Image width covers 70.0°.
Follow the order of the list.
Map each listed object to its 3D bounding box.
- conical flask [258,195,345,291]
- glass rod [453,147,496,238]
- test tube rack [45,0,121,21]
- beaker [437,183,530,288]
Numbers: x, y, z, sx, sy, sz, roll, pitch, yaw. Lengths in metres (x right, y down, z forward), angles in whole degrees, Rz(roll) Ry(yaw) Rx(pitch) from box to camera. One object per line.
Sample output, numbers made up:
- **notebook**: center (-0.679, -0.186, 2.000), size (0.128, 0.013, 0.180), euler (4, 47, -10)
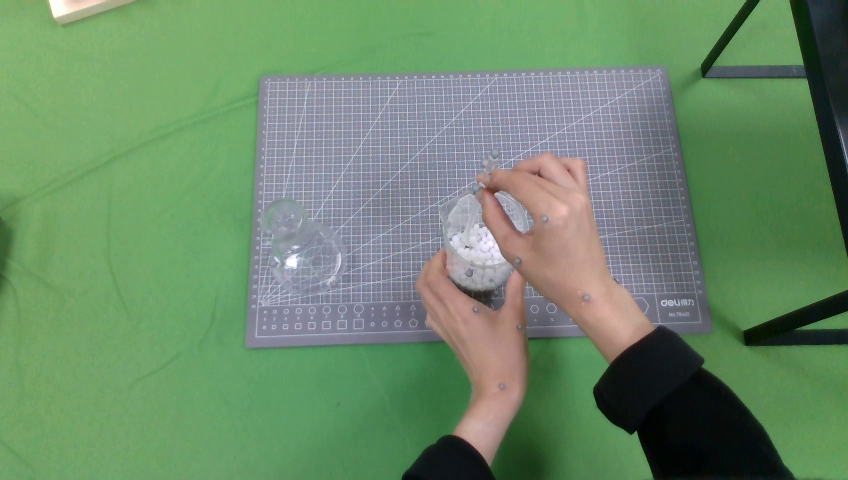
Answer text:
- **conical flask**: center (-0.116, -0.002, 0.548), size (0.075, 0.122, 0.075), euler (0, 72, 0)
- **glass rod**: center (0.039, -0.033, 0.501), size (0.008, 0.200, 0.008), euler (1, 74, -4)
- **test tube rack**: center (-0.319, -0.334, 0.671), size (0.242, 0.085, 0.066), euler (-22, 74, -7)
- **beaker**: center (0.049, 0.000, 0.561), size (0.084, 0.101, 0.074), euler (25, 73, 9)
